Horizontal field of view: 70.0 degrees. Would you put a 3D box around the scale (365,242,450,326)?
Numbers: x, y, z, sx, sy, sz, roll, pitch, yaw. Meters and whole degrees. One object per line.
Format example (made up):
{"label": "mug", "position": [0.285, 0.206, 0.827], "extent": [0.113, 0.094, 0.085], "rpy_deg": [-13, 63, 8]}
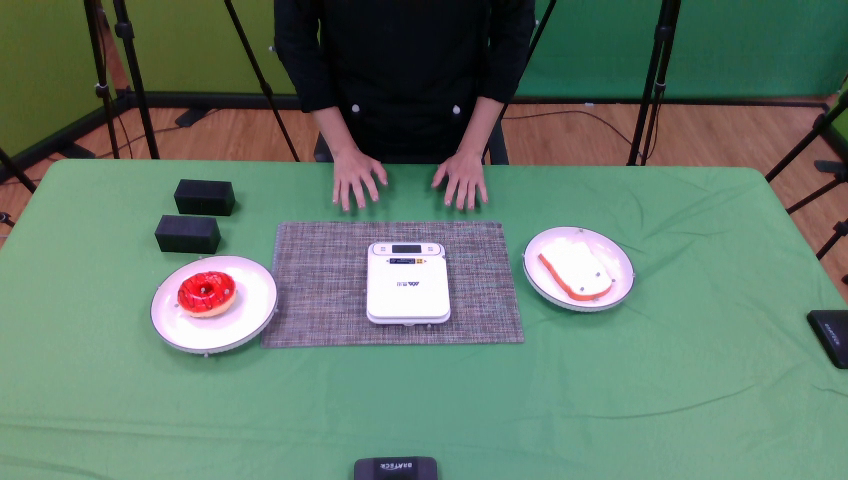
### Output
{"label": "scale", "position": [-0.032, 0.071, 1.113], "extent": [0.149, 0.032, 0.199], "rpy_deg": [0, 46, -4]}

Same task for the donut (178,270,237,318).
{"label": "donut", "position": [-0.375, 0.092, 1.053], "extent": [0.099, 0.048, 0.098], "rpy_deg": [1, 42, 0]}

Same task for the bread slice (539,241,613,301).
{"label": "bread slice", "position": [0.297, 0.058, 1.153], "extent": [0.105, 0.019, 0.130], "rpy_deg": [-15, 50, -18]}

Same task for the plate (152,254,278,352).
{"label": "plate", "position": [-0.357, 0.111, 1.052], "extent": [0.208, 0.039, 0.206], "rpy_deg": [2, 46, -2]}

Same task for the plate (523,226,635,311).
{"label": "plate", "position": [0.291, 0.058, 1.151], "extent": [0.209, 0.038, 0.208], "rpy_deg": [2, 45, -2]}
